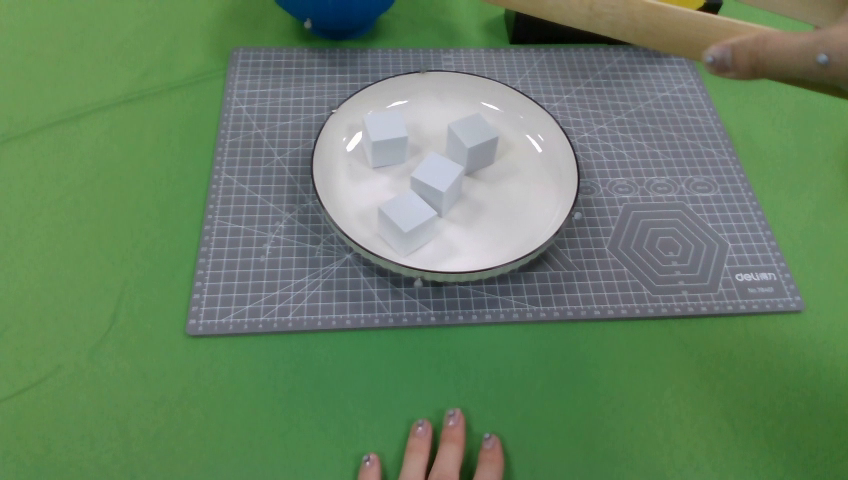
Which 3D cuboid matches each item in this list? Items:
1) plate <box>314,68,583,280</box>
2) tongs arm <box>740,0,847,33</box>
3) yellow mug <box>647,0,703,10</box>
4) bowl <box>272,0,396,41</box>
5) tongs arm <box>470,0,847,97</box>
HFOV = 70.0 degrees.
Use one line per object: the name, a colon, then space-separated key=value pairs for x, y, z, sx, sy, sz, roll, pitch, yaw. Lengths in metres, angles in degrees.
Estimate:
plate: x=0.019 y=-0.054 z=0.483 sx=0.208 sy=0.039 sz=0.205 roll=2 pitch=57 yaw=-2
tongs arm: x=0.123 y=-0.178 z=0.384 sx=0.381 sy=0.027 sz=0.051 roll=33 pitch=57 yaw=32
yellow mug: x=0.210 y=-0.264 z=0.559 sx=0.131 sy=0.064 sz=0.099 roll=-16 pitch=58 yaw=-12
bowl: x=-0.086 y=-0.248 z=0.585 sx=0.151 sy=0.077 sz=0.150 roll=1 pitch=56 yaw=-2
tongs arm: x=0.082 y=-0.145 z=0.358 sx=0.384 sy=0.028 sz=0.028 roll=27 pitch=51 yaw=28
